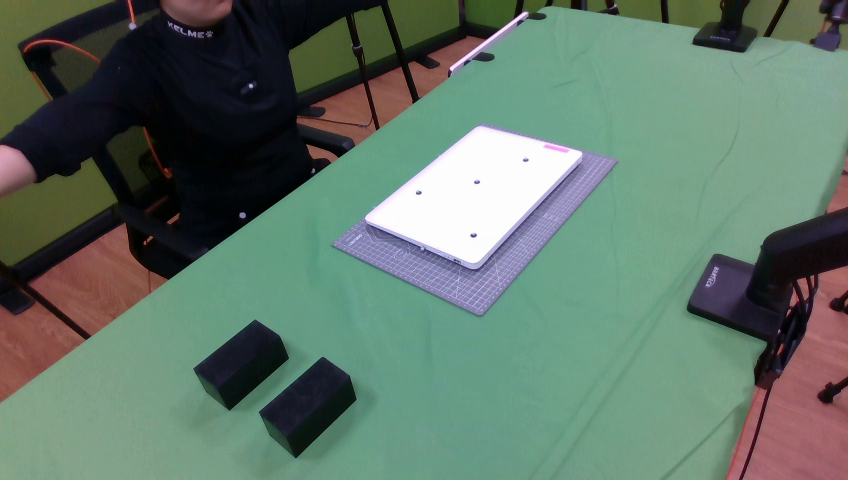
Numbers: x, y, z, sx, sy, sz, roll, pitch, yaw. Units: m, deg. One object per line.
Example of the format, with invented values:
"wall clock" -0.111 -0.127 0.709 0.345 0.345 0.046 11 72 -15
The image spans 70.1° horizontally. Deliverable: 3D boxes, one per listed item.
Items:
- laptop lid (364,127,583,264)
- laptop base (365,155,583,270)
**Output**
"laptop lid" 0.092 -0.096 1.053 0.239 0.013 0.358 23 48 34
"laptop base" 0.095 -0.086 1.059 0.233 0.023 0.355 20 47 33
